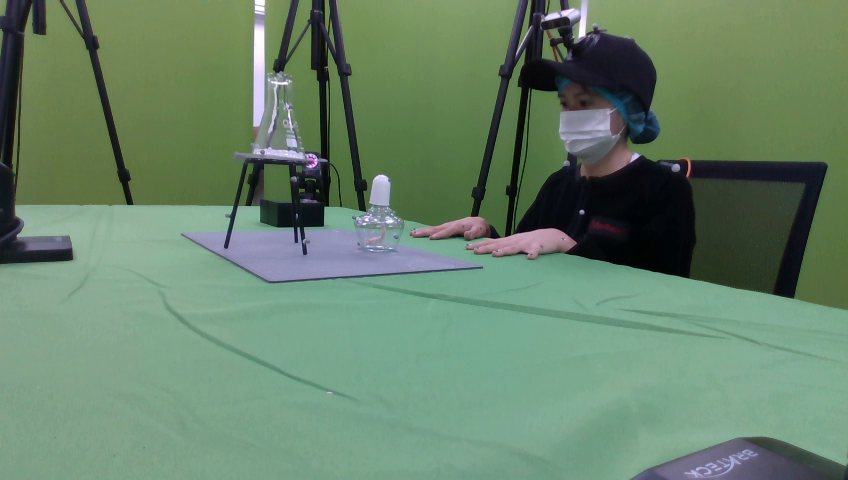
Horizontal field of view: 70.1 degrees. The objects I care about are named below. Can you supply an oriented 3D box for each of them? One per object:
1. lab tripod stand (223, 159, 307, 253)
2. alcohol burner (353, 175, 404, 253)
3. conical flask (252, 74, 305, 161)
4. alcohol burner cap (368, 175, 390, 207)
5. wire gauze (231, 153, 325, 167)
[{"bbox_3d":[-0.220,-0.053,0.896,0.148,0.131,0.148,1,6,0],"label":"lab tripod stand"},{"bbox_3d":[-0.069,-0.040,0.927,0.078,0.119,0.078,1,9,0],"label":"alcohol burner"},{"bbox_3d":[-0.211,-0.176,0.879,0.075,0.122,0.075,3,6,0],"label":"conical flask"},{"bbox_3d":[-0.067,-0.075,0.923,0.034,0.048,0.034,8,11,-1],"label":"alcohol burner cap"},{"bbox_3d":[-0.215,-0.117,0.882,0.125,0.011,0.121,3,7,-19],"label":"wire gauze"}]
